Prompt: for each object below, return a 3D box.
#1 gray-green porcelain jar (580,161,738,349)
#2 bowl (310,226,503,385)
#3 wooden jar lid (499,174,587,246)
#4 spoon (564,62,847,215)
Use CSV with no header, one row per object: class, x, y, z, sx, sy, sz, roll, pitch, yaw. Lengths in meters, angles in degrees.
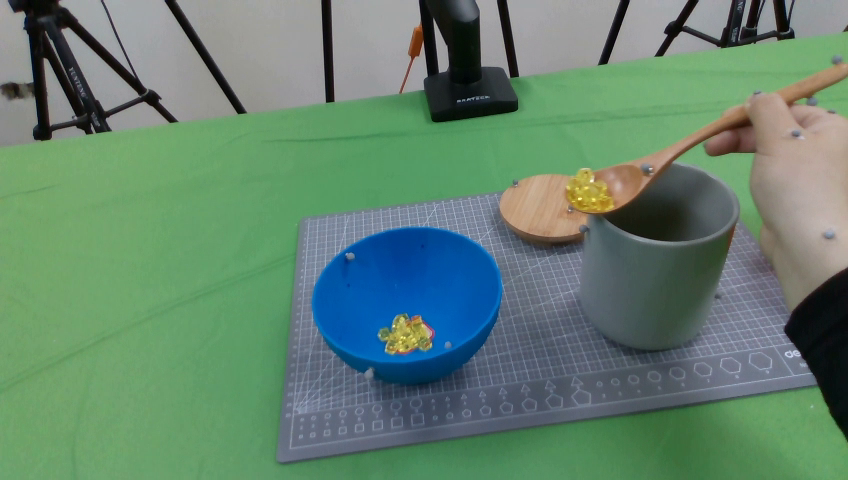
gray-green porcelain jar,0.181,0.017,0.487,0.106,0.128,0.105,-4,41,4
bowl,-0.010,0.065,0.496,0.151,0.077,0.150,-4,41,4
wooden jar lid,0.133,-0.031,0.632,0.108,0.021,0.107,-4,40,4
spoon,0.185,-0.067,0.406,0.193,0.022,0.041,-29,44,17
